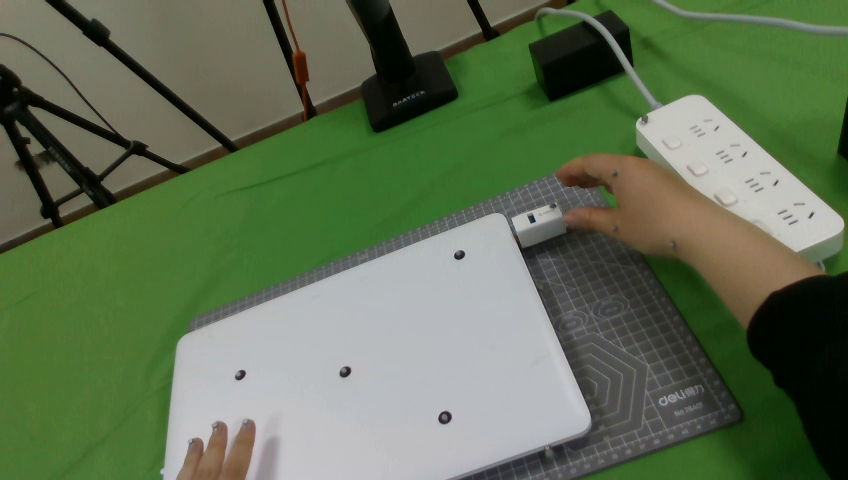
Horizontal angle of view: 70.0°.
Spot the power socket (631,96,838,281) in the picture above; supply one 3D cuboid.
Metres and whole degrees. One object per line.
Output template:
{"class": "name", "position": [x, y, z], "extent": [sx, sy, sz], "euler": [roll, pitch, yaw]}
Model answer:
{"class": "power socket", "position": [0.258, -0.054, 0.526], "extent": [0.072, 0.033, 0.224], "euler": [-23, 44, 3]}

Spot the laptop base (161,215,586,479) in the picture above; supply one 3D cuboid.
{"class": "laptop base", "position": [-0.066, 0.120, 0.526], "extent": [0.354, 0.023, 0.233], "euler": [-22, 47, 5]}

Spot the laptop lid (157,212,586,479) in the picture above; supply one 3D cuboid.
{"class": "laptop lid", "position": [-0.069, 0.114, 0.516], "extent": [0.356, 0.013, 0.239], "euler": [-21, 46, 7]}

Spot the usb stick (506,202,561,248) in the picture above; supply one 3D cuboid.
{"class": "usb stick", "position": [0.094, -0.011, 0.555], "extent": [0.059, 0.027, 0.021], "euler": [-23, 38, 11]}
